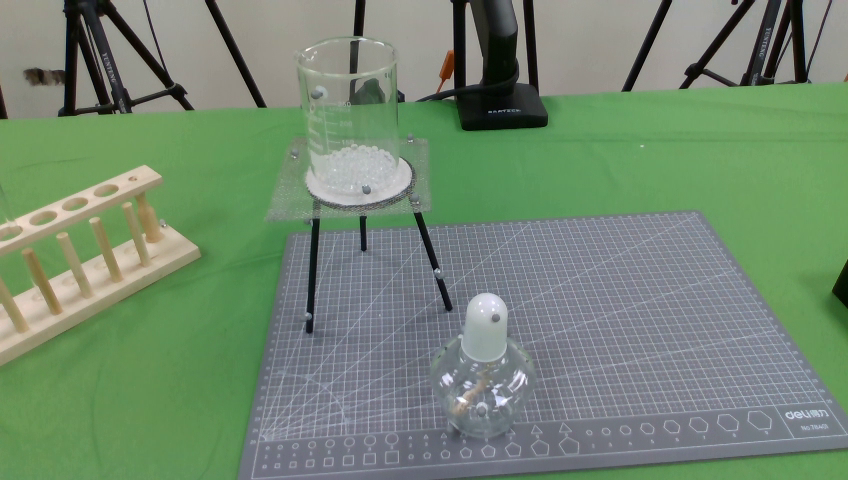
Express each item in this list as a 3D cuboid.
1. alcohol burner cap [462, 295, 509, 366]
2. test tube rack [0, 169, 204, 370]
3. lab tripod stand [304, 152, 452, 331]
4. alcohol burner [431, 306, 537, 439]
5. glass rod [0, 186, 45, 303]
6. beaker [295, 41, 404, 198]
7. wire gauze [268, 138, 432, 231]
[{"bbox_3d":[0.043,0.058,0.409,0.034,0.048,0.033,1,39,0],"label":"alcohol burner cap"},{"bbox_3d":[-0.333,0.030,0.546,0.066,0.086,0.242,28,46,33],"label":"test tube rack"},{"bbox_3d":[-0.045,0.001,0.530,0.148,0.132,0.147,0,37,0],"label":"lab tripod stand"},{"bbox_3d":[0.043,0.087,0.431,0.078,0.120,0.077,0,40,1],"label":"alcohol burner"},{"bbox_3d":[-0.357,-0.029,0.514,0.008,0.201,0.008,0,30,1],"label":"glass rod"},{"bbox_3d":[-0.057,-0.090,0.459,0.083,0.101,0.074,22,43,25],"label":"beaker"},{"bbox_3d":[-0.055,-0.050,0.487,0.121,0.011,0.124,-2,40,0],"label":"wire gauze"}]
